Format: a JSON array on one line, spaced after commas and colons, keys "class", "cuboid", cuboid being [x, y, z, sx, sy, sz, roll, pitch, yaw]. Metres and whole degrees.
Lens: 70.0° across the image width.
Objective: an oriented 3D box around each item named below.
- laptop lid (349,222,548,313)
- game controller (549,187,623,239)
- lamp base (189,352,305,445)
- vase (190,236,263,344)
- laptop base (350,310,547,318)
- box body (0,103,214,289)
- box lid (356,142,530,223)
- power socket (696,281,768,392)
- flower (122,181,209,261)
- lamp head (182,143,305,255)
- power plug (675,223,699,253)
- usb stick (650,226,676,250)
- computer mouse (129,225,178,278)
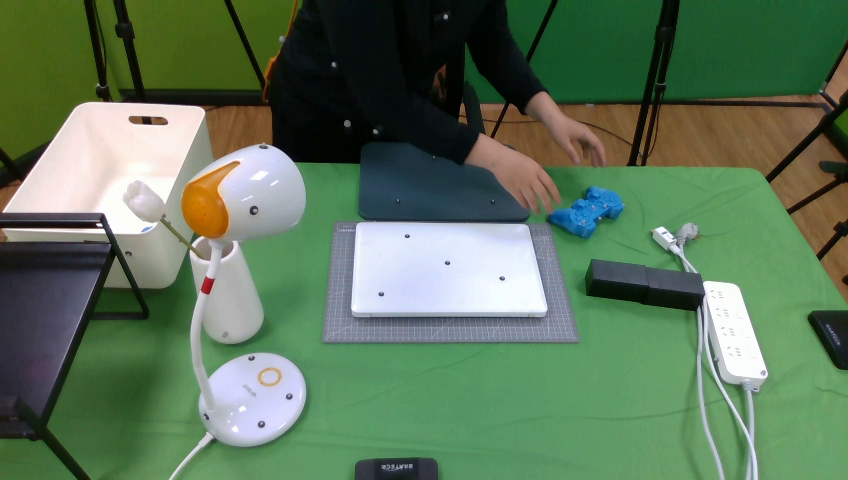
[{"class": "laptop lid", "cuboid": [0.042, 0.046, 1.142, 0.357, 0.013, 0.240, 2, 44, -3]}, {"class": "game controller", "cuboid": [0.346, -0.065, 1.272, 0.155, 0.052, 0.096, -31, 58, -29]}, {"class": "lamp base", "cuboid": [-0.268, 0.196, 0.876, 0.160, 0.181, 0.179, 25, 52, 20]}, {"class": "vase", "cuboid": [-0.317, 0.081, 0.971, 0.098, 0.201, 0.097, 3, 47, -3]}, {"class": "laptop base", "cuboid": [0.041, 0.056, 1.149, 0.355, 0.023, 0.234, 0, 43, -4]}, {"class": "box body", "cuboid": [-0.563, -0.087, 1.139, 0.254, 0.161, 0.361, 2, 46, -3]}, {"class": "box lid", "cuboid": [0.040, -0.132, 1.339, 0.372, 0.015, 0.261, 0, 46, -4]}, {"class": "power socket", "cuboid": [0.543, 0.161, 1.077, 0.072, 0.033, 0.225, 6, 46, 2]}, {"class": "flower", "cuboid": [-0.329, 0.029, 0.905, 0.038, 0.364, 0.044, -21, 58, -1]}, {"class": "lamp head", "cuboid": [-0.216, -0.044, 0.697, 0.112, 0.113, 0.123, 23, 31, 17]}, {"class": "power plug", "cuboid": [0.538, 0.000, 1.243, 0.053, 0.035, 0.072, 19, 81, -17]}, {"class": "usb stick", "cuboid": [0.485, -0.008, 1.238, 0.021, 0.027, 0.059, -22, 44, -13]}, {"class": "computer mouse", "cuboid": [-0.500, 0.018, 1.121, 0.063, 0.041, 0.116, 4, 53, -5]}]
